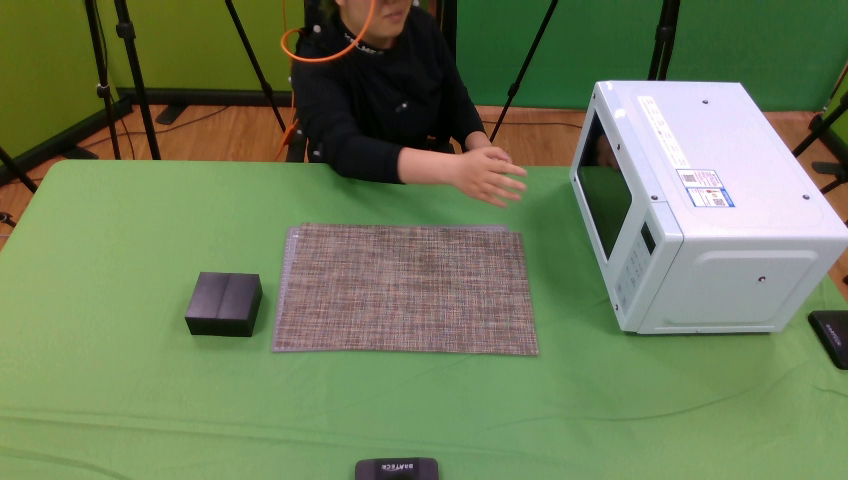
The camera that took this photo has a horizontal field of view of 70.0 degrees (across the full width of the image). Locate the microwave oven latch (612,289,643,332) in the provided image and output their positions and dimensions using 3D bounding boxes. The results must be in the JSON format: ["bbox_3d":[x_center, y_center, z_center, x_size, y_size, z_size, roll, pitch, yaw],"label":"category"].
[{"bbox_3d":[0.357,0.124,1.068,0.030,0.029,0.078,0,45,-3],"label":"microwave oven latch"}]

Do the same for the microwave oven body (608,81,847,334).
[{"bbox_3d":[0.501,-0.070,1.132,0.326,0.261,0.438,-1,45,-4],"label":"microwave oven body"}]

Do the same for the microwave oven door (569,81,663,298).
[{"bbox_3d":[0.353,-0.104,1.147,0.039,0.245,0.353,0,46,-4],"label":"microwave oven door"}]

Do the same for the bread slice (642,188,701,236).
[{"bbox_3d":[0.494,-0.057,1.197,0.105,0.019,0.131,6,43,4],"label":"bread slice"}]

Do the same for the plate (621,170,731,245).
[{"bbox_3d":[0.490,-0.060,1.194,0.209,0.038,0.208,2,45,-2],"label":"plate"}]
